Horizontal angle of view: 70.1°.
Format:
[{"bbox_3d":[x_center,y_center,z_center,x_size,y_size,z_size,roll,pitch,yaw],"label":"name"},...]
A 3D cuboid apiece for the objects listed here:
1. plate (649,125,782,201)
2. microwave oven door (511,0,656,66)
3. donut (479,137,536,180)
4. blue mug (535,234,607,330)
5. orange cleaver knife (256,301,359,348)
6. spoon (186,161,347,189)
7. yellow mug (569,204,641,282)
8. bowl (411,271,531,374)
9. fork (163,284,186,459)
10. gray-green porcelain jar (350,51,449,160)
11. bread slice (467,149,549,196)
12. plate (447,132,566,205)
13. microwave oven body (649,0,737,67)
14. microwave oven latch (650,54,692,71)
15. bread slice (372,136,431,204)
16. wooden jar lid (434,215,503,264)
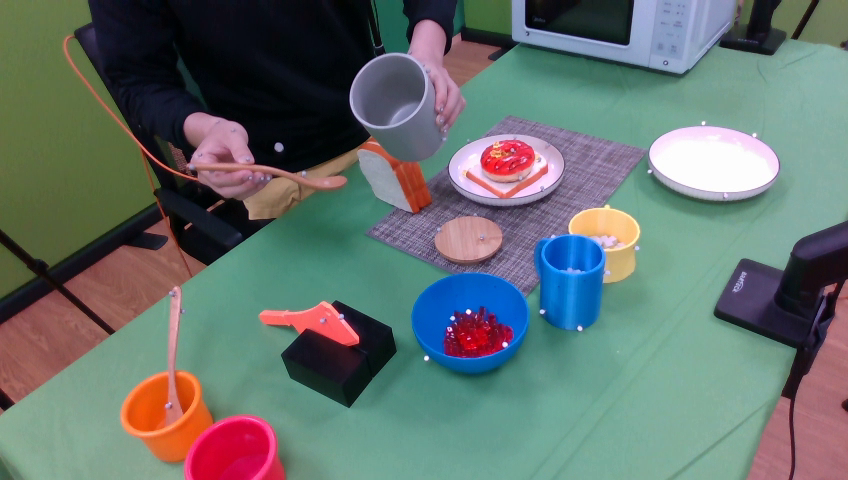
[{"bbox_3d":[0.493,-0.127,1.036,0.207,0.039,0.206,-4,41,4],"label":"plate"},{"bbox_3d":[0.351,-0.539,1.348,0.353,0.245,0.039,24,50,31],"label":"microwave oven door"},{"bbox_3d":[0.145,-0.144,1.056,0.099,0.048,0.098,-6,42,6],"label":"donut"},{"bbox_3d":[0.191,0.048,0.824,0.082,0.106,0.115,-26,44,-20],"label":"blue mug"},{"bbox_3d":[-0.160,0.115,0.813,0.210,0.077,0.012,-9,29,48],"label":"orange cleaver knife"},{"bbox_3d":[-0.182,-0.081,0.721,0.195,0.021,0.041,6,18,-36],"label":"spoon"},{"bbox_3d":[0.268,-0.005,0.904,0.099,0.064,0.130,7,41,15],"label":"yellow mug"},{"bbox_3d":[0.062,0.119,0.780,0.151,0.077,0.150,-4,40,4],"label":"bowl"},{"bbox_3d":[-0.302,0.157,0.733,0.028,0.019,0.207,-3,84,16],"label":"fork"},{"bbox_3d":[-0.027,-0.172,0.807,0.105,0.127,0.105,-4,74,15],"label":"gray-green porcelain jar"},{"bbox_3d":[0.156,-0.128,1.085,0.132,0.019,0.104,-34,48,-23],"label":"bread slice"},{"bbox_3d":[0.146,-0.124,1.076,0.209,0.038,0.208,-4,41,4],"label":"plate"},{"bbox_3d":[0.475,-0.602,1.411,0.438,0.261,0.327,23,50,32],"label":"microwave oven body"},{"bbox_3d":[0.530,-0.386,1.300,0.078,0.029,0.030,23,49,31],"label":"microwave oven latch"},{"bbox_3d":[-0.043,-0.126,1.038,0.106,0.135,0.018,30,62,34],"label":"bread slice"},{"bbox_3d":[0.070,0.001,0.956,0.108,0.021,0.108,-4,40,4],"label":"wooden jar lid"}]
